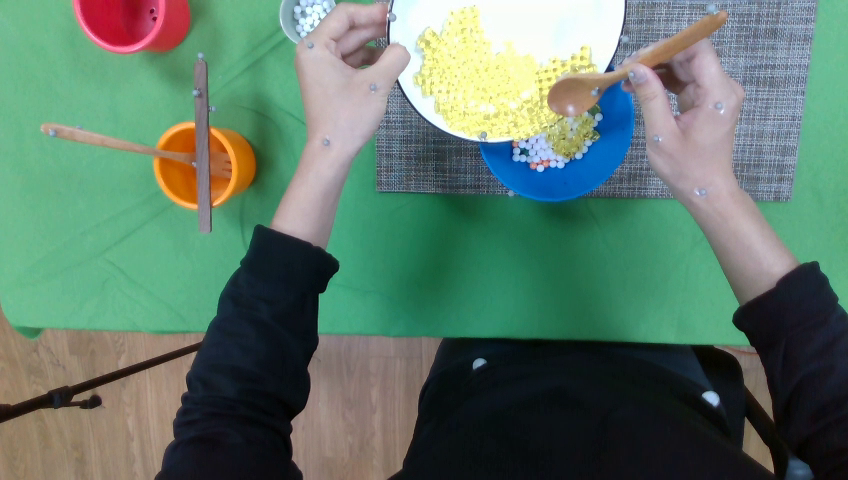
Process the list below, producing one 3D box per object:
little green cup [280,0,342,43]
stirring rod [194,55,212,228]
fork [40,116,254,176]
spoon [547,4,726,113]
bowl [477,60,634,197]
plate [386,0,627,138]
[{"bbox_3d":[-0.117,-0.238,0.639,0.061,0.038,0.062,1,103,6],"label":"little green cup"},{"bbox_3d":[-0.227,-0.098,0.622,0.014,0.006,0.176,4,103,4],"label":"stirring rod"},{"bbox_3d":[-0.278,-0.097,0.630,0.209,0.018,0.028,9,110,-41],"label":"fork"},{"bbox_3d":[0.160,-0.138,0.483,0.042,0.193,0.021,35,76,-15],"label":"spoon"},{"bbox_3d":[0.128,-0.123,0.617,0.151,0.076,0.152,1,104,4],"label":"bowl"},{"bbox_3d":[0.068,-0.189,0.523,0.209,0.037,0.211,-7,130,-8],"label":"plate"}]
